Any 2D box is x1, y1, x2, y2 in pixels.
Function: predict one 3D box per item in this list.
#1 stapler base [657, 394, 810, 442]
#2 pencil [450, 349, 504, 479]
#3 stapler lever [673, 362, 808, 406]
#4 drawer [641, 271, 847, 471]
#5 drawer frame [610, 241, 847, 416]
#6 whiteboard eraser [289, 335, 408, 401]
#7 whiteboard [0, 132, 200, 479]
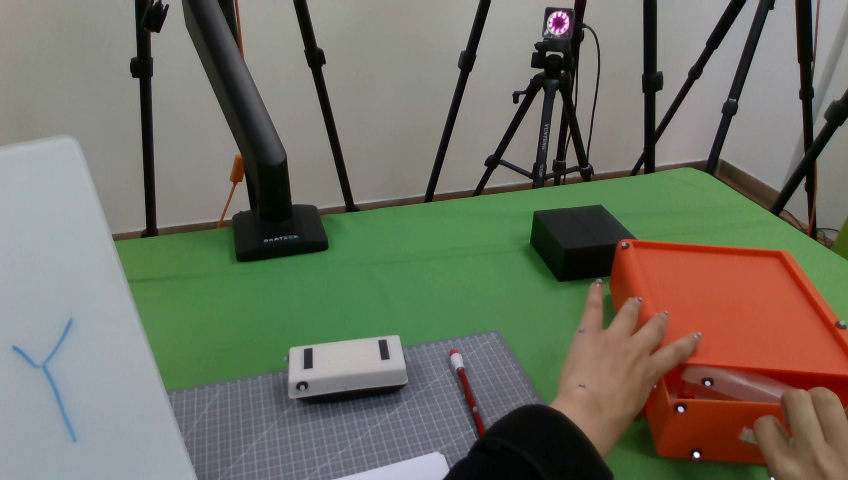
[{"bbox_3d":[0.290,0.160,0.571,0.130,0.024,0.041,7,18,10],"label":"stapler base"},{"bbox_3d":[0.051,0.169,0.560,0.012,0.012,0.192,-5,33,-10],"label":"pencil"},{"bbox_3d":[0.294,0.135,0.563,0.118,0.040,0.027,9,18,9],"label":"stapler lever"},{"bbox_3d":[0.310,0.116,0.594,0.194,0.074,0.210,3,31,4],"label":"drawer"},{"bbox_3d":[0.313,0.092,0.633,0.201,0.083,0.212,3,31,4],"label":"drawer frame"},{"bbox_3d":[-0.074,0.126,0.591,0.113,0.042,0.055,-4,33,-10],"label":"whiteboard eraser"},{"bbox_3d":[-0.318,0.097,0.431,0.218,0.307,0.143,-21,18,-31],"label":"whiteboard"}]
